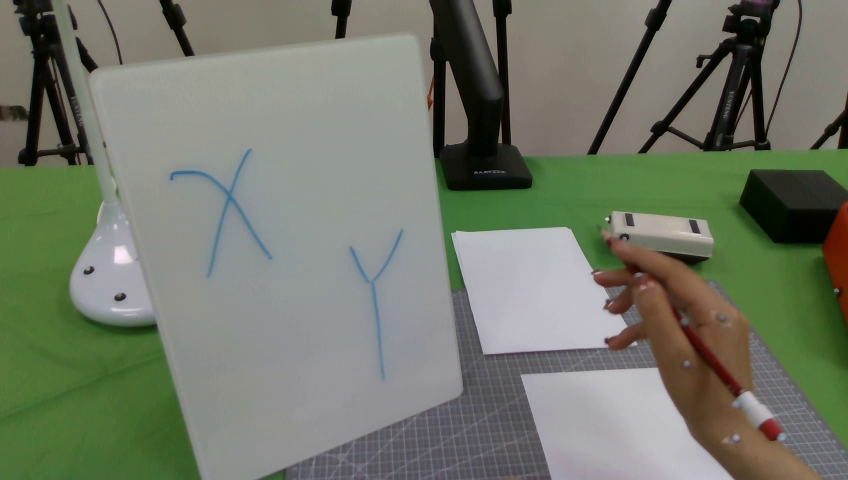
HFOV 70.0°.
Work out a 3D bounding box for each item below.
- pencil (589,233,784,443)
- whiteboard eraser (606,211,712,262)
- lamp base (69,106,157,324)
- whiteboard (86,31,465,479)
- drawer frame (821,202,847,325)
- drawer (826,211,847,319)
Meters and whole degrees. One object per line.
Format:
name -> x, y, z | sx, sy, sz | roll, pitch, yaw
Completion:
pencil -> 0.162, 0.052, 0.402 | 0.012, 0.012, 0.191 | -11, 41, -17
whiteboard eraser -> 0.274, -0.003, 0.714 | 0.112, 0.042, 0.055 | 7, 36, 7
lamp base -> -0.294, -0.034, 0.604 | 0.178, 0.182, 0.160 | 21, 39, 30
whiteboard -> -0.109, 0.006, 0.496 | 0.218, 0.307, 0.142 | -15, 19, -22
drawer frame -> 0.531, 0.059, 0.599 | 0.201, 0.083, 0.212 | 11, 35, 14
drawer -> 0.530, 0.062, 0.596 | 0.194, 0.074, 0.211 | 12, 35, 15
